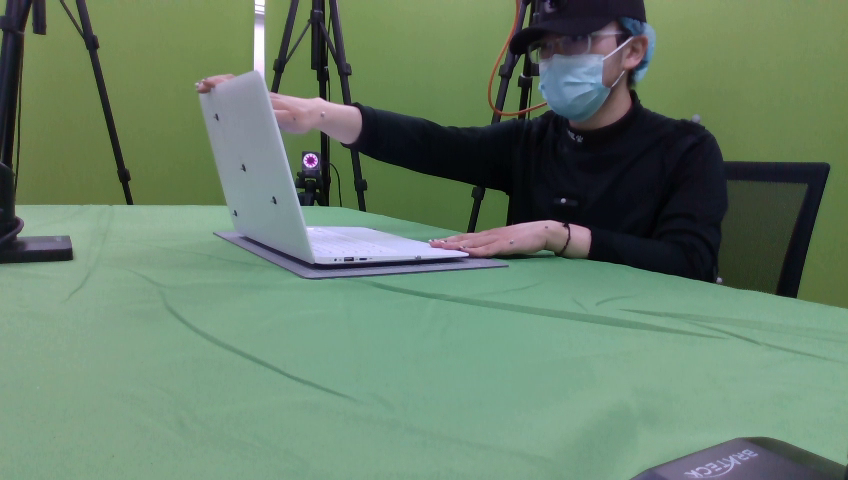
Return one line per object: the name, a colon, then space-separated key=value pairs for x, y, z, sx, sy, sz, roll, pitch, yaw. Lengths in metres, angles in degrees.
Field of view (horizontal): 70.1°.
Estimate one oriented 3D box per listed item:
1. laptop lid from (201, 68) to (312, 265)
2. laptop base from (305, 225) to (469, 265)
laptop lid: x=-0.245 y=-0.102 z=0.841 sx=0.013 sy=0.241 sz=0.355 roll=-18 pitch=18 yaw=-29
laptop base: x=-0.123 y=0.005 z=0.936 sx=0.237 sy=0.023 sz=0.352 roll=2 pitch=7 yaw=-33
